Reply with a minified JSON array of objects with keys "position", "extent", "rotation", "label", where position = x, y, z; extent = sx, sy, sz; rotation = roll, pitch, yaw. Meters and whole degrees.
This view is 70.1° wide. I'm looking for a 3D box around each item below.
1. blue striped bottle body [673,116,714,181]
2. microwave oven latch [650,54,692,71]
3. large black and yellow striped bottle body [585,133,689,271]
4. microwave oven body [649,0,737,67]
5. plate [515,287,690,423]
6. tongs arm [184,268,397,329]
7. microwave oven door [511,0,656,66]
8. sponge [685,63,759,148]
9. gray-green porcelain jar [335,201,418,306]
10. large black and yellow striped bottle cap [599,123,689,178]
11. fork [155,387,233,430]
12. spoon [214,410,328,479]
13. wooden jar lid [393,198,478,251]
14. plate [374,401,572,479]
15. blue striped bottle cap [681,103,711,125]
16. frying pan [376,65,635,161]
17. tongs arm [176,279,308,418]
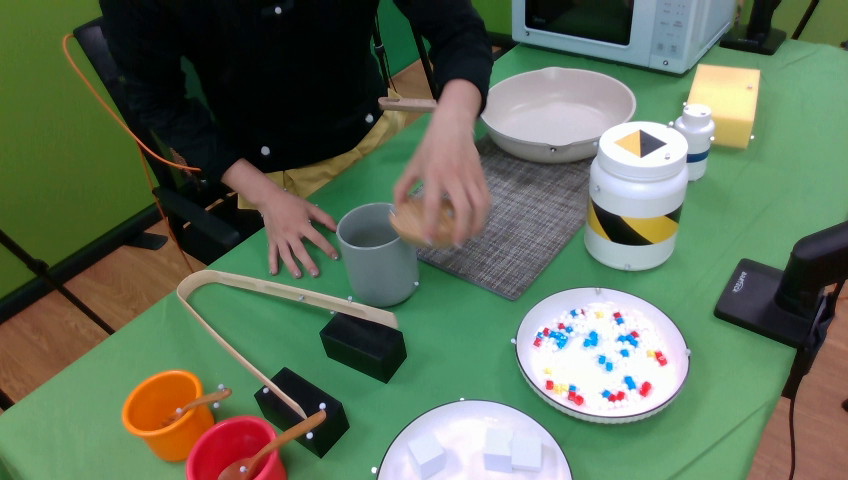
[{"position":[0.451,-0.166,1.023],"extent":[0.063,0.121,0.063],"rotation":[-5,41,4],"label":"blue striped bottle body"},{"position":[0.531,-0.386,1.301],"extent":[0.078,0.029,0.030],"rotation":[25,51,33],"label":"microwave oven latch"},{"position":[0.305,-0.061,0.874],"extent":[0.131,0.185,0.130],"rotation":[-4,41,4],"label":"large black and yellow striped bottle body"},{"position":[0.475,-0.602,1.411],"extent":[0.438,0.261,0.327],"rotation":[23,50,32],"label":"microwave oven body"},{"position":[0.220,0.144,0.760],"extent":[0.209,0.038,0.208],"rotation":[-4,40,4],"label":"plate"},{"position":[-0.202,0.084,0.848],"extent":[0.382,0.027,0.051],"rotation":[11,45,35],"label":"tongs arm"},{"position":[0.350,-0.539,1.348],"extent":[0.353,0.245,0.039],"rotation":[24,50,31],"label":"microwave oven door"},{"position":[0.569,-0.263,1.164],"extent":[0.117,0.061,0.207],"rotation":[12,45,22],"label":"sponge"},{"position":[-0.064,0.024,0.872],"extent":[0.106,0.127,0.105],"rotation":[-4,41,4],"label":"gray-green porcelain jar"},{"position":[0.296,-0.123,0.818],"extent":[0.115,0.019,0.114],"rotation":[-5,40,4],"label":"large black and yellow striped bottle cap"},{"position":[-0.264,0.191,0.687],"extent":[0.206,0.018,0.028],"rotation":[-33,7,44],"label":"fork"},{"position":[-0.166,0.224,0.639],"extent":[0.193,0.022,0.041],"rotation":[-40,33,29],"label":"spoon"},{"position":[0.014,-0.019,0.763],"extent":[0.108,0.021,0.108],"rotation":[2,33,-1],"label":"wooden jar lid"},{"position":[0.051,0.268,0.639],"extent":[0.207,0.039,0.206],"rotation":[-4,40,3],"label":"plate"},{"position":[0.446,-0.205,0.990],"extent":[0.044,0.021,0.044],"rotation":[-5,44,5],"label":"blue striped bottle cap"},{"position":[0.150,-0.255,1.177],"extent":[0.488,0.103,0.305],"rotation":[6,41,3],"label":"frying pan"},{"position":[-0.254,0.133,0.801],"extent":[0.028,0.028,0.384],"rotation":[-41,40,-23],"label":"tongs arm"}]
